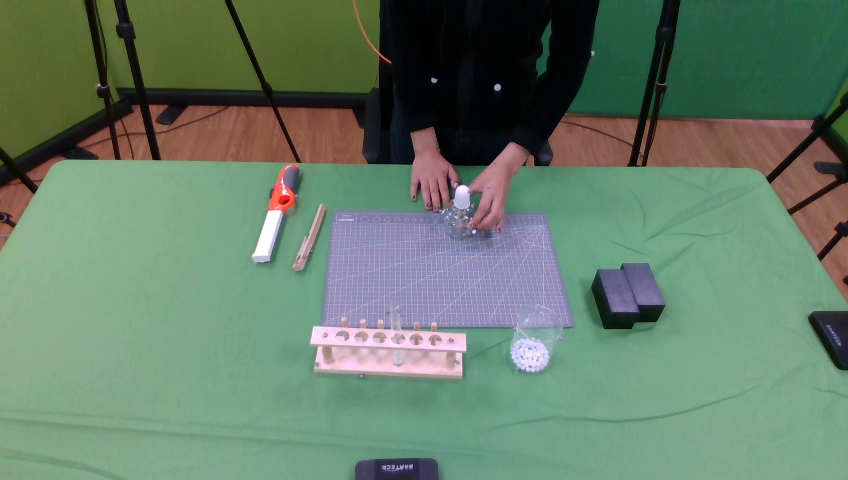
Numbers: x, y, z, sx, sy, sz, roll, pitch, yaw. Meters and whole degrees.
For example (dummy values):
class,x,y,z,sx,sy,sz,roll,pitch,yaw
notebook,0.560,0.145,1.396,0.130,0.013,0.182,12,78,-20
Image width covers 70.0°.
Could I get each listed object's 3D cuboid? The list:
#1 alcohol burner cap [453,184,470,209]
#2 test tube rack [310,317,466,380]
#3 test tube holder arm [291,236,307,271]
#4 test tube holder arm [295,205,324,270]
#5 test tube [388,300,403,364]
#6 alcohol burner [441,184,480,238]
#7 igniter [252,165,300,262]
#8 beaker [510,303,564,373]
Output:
class,x,y,z,sx,sy,sz,roll,pitch,yaw
alcohol burner cap,0.074,-0.087,1.170,0.034,0.048,0.033,1,52,-1
test tube rack,-0.056,0.171,0.987,0.242,0.085,0.066,3,45,-1
test tube holder arm,-0.234,0.024,1.163,0.010,0.015,0.087,-18,37,28
test tube holder arm,-0.223,-0.008,1.192,0.013,0.015,0.177,-19,37,27
test tube,-0.044,0.146,0.942,0.017,0.151,0.017,-1,44,1
alcohol burner,0.073,-0.062,1.195,0.078,0.120,0.077,0,47,0
igniter,-0.298,-0.063,1.234,0.057,0.025,0.275,-2,45,7
beaker,0.182,0.164,1.000,0.074,0.101,0.083,2,45,-1
